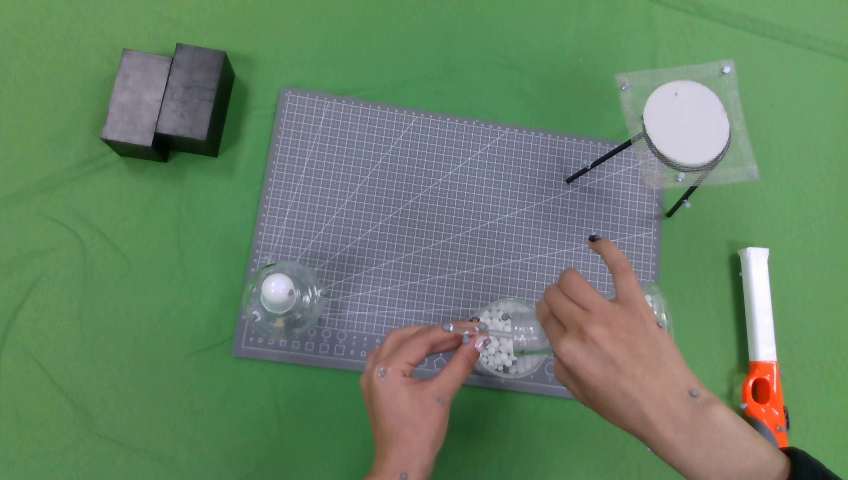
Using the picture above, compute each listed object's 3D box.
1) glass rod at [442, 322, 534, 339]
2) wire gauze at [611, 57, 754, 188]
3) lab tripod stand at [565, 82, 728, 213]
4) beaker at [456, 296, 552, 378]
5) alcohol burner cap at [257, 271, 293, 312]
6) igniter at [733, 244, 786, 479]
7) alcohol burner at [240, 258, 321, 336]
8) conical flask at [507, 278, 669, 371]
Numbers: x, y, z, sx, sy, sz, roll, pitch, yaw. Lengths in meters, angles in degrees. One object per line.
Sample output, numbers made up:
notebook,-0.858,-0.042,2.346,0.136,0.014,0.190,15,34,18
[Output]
glass rod,0.061,0.078,0.515,0.008,0.201,0.008,-5,78,27
wire gauze,0.250,-0.112,0.582,0.125,0.011,0.121,-8,82,-8
lab tripod stand,0.240,-0.096,0.646,0.149,0.131,0.148,1,80,-7
beaker,0.075,0.097,0.606,0.084,0.100,0.073,-10,80,-8
alcohol burner cap,-0.134,0.044,0.547,0.034,0.048,0.033,4,71,-13
igniter,0.371,0.142,0.672,0.057,0.025,0.275,4,79,-17
alcohol burner,-0.139,0.053,0.582,0.078,0.119,0.077,2,78,-8
conical flask,0.130,0.072,0.496,0.122,0.075,0.075,-4,79,6
